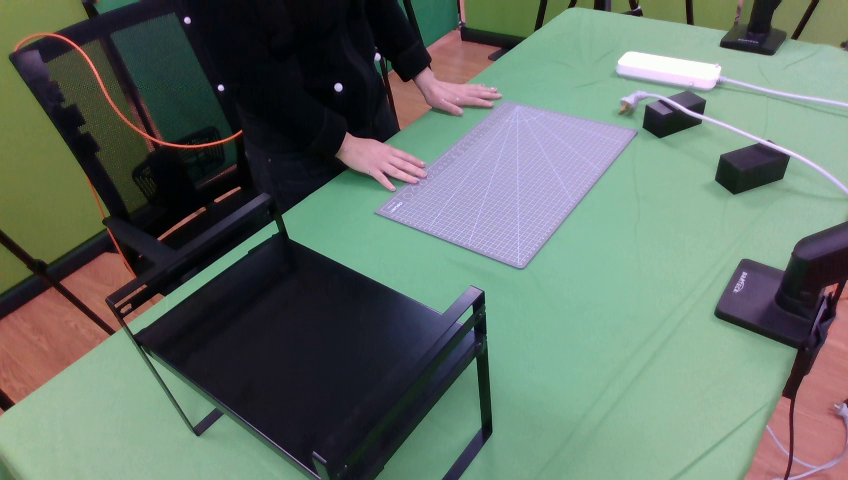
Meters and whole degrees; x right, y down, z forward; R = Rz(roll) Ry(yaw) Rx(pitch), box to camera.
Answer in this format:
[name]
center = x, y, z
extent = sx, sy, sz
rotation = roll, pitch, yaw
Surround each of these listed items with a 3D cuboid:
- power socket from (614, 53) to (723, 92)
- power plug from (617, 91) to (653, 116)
[power socket]
center = 0.528, -0.367, 1.317
extent = 0.225, 0.033, 0.072
rotation = 20, 49, 29
[power plug]
center = 0.414, -0.273, 1.206
extent = 0.052, 0.035, 0.072
rotation = -55, 7, 2
